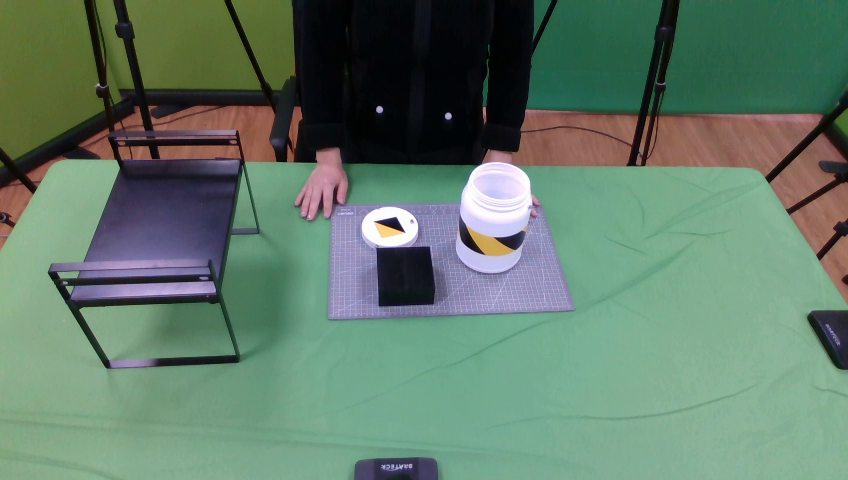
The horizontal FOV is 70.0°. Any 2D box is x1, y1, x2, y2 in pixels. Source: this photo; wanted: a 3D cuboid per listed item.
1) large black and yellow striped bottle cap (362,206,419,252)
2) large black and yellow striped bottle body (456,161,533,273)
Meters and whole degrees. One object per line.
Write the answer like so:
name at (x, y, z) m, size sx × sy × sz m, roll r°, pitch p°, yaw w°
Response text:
large black and yellow striped bottle cap at (-0.067, -0.024, 1.215) m, size 0.115 × 0.019 × 0.114 m, roll 1°, pitch 47°, yaw -1°
large black and yellow striped bottle body at (0.131, -0.042, 1.129) m, size 0.131 × 0.185 × 0.130 m, roll 2°, pitch 46°, yaw -2°
